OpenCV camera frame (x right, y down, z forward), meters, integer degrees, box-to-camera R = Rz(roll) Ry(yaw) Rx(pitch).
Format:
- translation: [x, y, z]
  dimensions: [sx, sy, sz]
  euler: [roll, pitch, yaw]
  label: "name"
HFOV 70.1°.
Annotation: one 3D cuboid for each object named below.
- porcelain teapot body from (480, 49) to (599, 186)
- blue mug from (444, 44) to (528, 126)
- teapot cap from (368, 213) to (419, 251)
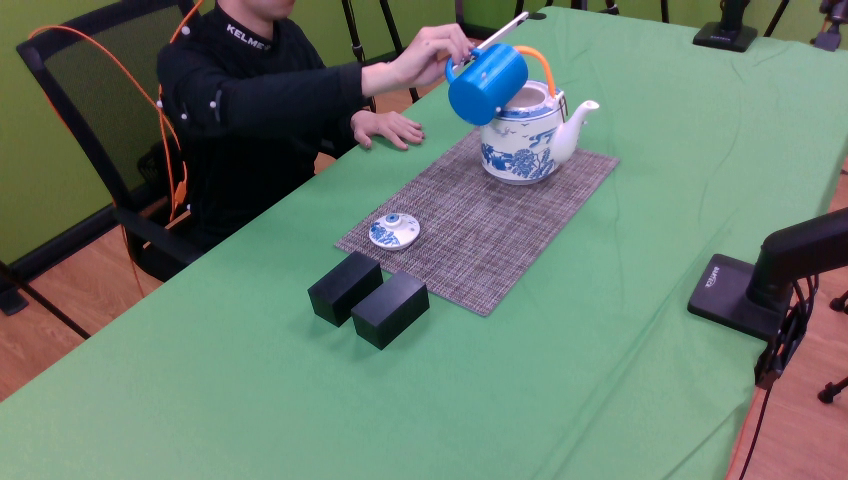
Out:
- translation: [0.193, -0.208, 1.024]
  dimensions: [0.204, 0.226, 0.145]
  euler: [16, 46, 25]
  label: "porcelain teapot body"
- translation: [0.087, -0.250, 0.935]
  dimensions: [0.116, 0.082, 0.106]
  euler: [40, 63, 3]
  label: "blue mug"
- translation: [-0.050, -0.019, 0.975]
  dimensions: [0.085, 0.044, 0.084]
  euler: [-4, 43, 4]
  label: "teapot cap"
